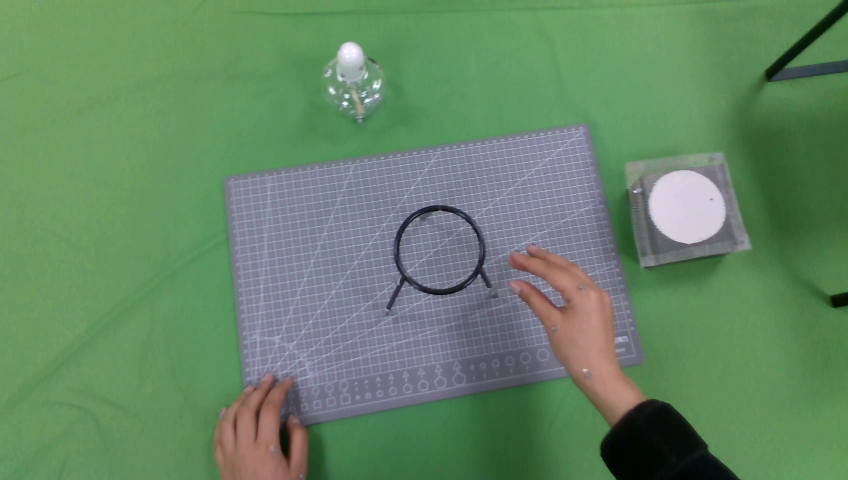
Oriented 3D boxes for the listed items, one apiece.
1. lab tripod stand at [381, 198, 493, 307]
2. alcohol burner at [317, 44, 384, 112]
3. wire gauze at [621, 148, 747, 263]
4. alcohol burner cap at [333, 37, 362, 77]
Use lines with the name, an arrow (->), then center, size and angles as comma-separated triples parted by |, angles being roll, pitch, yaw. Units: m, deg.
lab tripod stand -> 0.014, 0.018, 0.644 | 0.148, 0.132, 0.147 | 1, 76, -4
alcohol burner -> -0.085, -0.196, 0.700 | 0.078, 0.119, 0.077 | 1, 77, -4
wire gauze -> 0.291, -0.042, 0.685 | 0.121, 0.011, 0.124 | -7, 77, -1
alcohol burner cap -> -0.085, -0.203, 0.666 | 0.034, 0.048, 0.033 | 1, 82, -6
